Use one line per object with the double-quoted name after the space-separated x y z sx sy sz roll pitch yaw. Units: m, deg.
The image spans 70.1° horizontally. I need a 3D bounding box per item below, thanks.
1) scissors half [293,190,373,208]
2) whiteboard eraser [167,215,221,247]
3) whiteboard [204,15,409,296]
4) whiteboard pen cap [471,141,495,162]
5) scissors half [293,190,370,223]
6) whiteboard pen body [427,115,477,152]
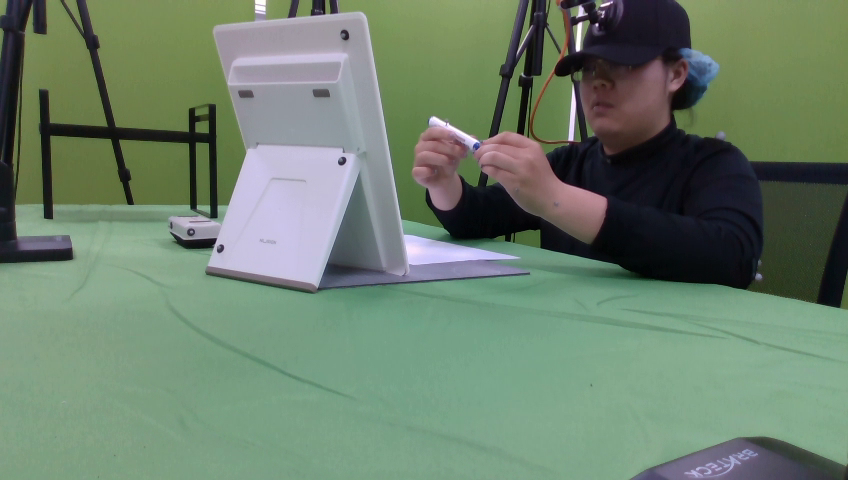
-0.201 -0.096 1.332 0.175 0.040 0.013 5 19 -4 "scissors half"
-0.350 -0.014 0.920 0.056 0.042 0.112 0 7 -35 "whiteboard eraser"
-0.166 -0.072 0.669 0.216 0.305 0.144 8 30 30 "whiteboard"
0.082 -0.124 0.841 0.018 0.018 0.033 -6 44 -50 "whiteboard pen cap"
-0.205 -0.077 1.338 0.175 0.040 0.013 22 12 -8 "scissors half"
0.049 -0.152 0.881 0.017 0.017 0.140 -4 32 -40 "whiteboard pen body"
